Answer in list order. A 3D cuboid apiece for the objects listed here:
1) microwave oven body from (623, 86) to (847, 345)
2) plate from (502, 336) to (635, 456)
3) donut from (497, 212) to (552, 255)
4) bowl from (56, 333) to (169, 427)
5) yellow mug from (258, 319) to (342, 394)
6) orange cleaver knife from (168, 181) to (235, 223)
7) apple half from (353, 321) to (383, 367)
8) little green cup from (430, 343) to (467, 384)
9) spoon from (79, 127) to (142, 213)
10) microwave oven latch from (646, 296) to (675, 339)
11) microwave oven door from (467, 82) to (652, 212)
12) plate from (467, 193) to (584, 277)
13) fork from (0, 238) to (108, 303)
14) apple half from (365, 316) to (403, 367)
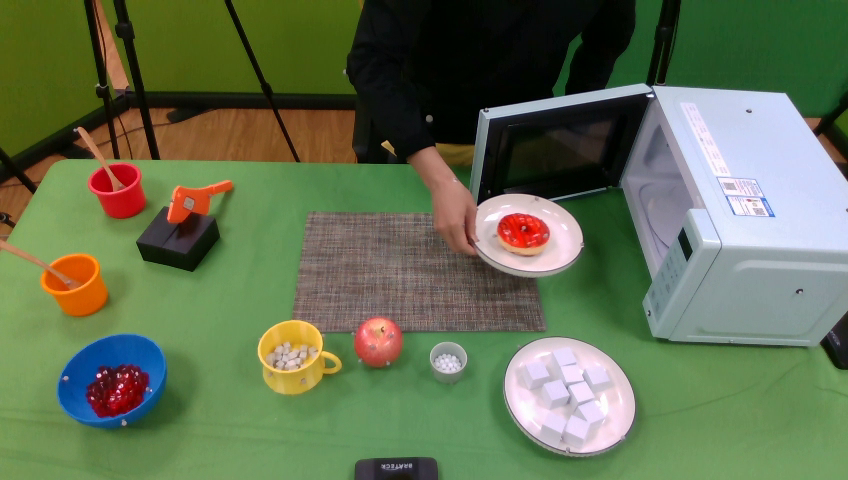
[{"bbox_3d":[0.567,-0.053,1.118,0.326,0.261,0.439,2,45,-1],"label":"microwave oven body"},{"bbox_3d":[0.225,0.248,0.963,0.208,0.039,0.206,2,46,-2],"label":"plate"},{"bbox_3d":[0.178,-0.013,1.080,0.099,0.048,0.098,3,41,-2],"label":"donut"},{"bbox_3d":[-0.456,0.223,0.911,0.151,0.077,0.150,3,46,-2],"label":"bowl"},{"bbox_3d":[-0.195,0.188,0.972,0.131,0.064,0.099,9,47,4],"label":"yellow mug"},{"bbox_3d":[-0.436,-0.078,1.196,0.012,0.077,0.211,16,15,10],"label":"orange cleaver knife"},{"bbox_3d":[-0.097,0.177,0.984,0.033,0.081,0.081,-16,49,-25],"label":"apple half"},{"bbox_3d":[0.039,0.203,0.993,0.061,0.039,0.061,2,46,-2],"label":"little green cup"},{"bbox_3d":[-0.625,-0.139,1.203,0.041,0.021,0.194,-33,101,-25],"label":"spoon"},{"bbox_3d":[0.412,0.134,1.061,0.030,0.029,0.078,3,45,0],"label":"microwave oven latch"},{"bbox_3d":[0.266,-0.181,1.214,0.356,0.245,0.039,-12,49,-15],"label":"microwave oven door"},{"bbox_3d":[0.180,-0.006,1.089,0.209,0.038,0.208,3,44,-2],"label":"plate"},{"bbox_3d":[-0.633,0.048,1.017,0.208,0.018,0.028,40,43,-27],"label":"fork"},{"bbox_3d":[-0.063,0.165,1.000,0.053,0.075,0.080,-16,45,-24],"label":"apple half"}]
